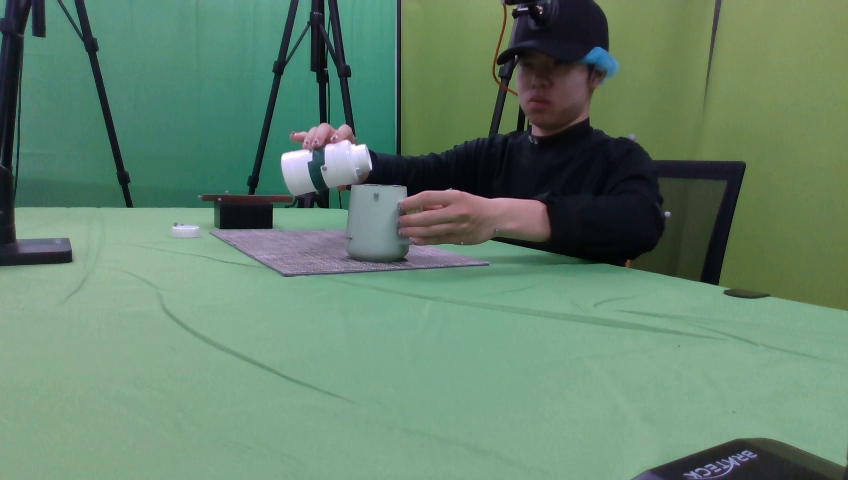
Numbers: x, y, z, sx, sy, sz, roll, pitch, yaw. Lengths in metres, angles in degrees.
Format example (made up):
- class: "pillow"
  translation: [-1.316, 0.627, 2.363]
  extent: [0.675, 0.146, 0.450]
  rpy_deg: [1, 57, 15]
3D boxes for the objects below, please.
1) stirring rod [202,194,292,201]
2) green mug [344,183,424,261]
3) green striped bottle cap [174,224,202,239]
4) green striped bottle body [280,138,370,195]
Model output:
- class: "stirring rod"
  translation: [-0.353, -0.086, 1.216]
  extent: [0.177, 0.014, 0.006]
  rpy_deg: [-1, 12, -27]
- class: "green mug"
  translation: [-0.053, -0.026, 0.849]
  extent: [0.125, 0.105, 0.093]
  rpy_deg: [7, 8, 33]
- class: "green striped bottle cap"
  translation: [-0.405, -0.015, 1.036]
  extent: [0.044, 0.020, 0.044]
  rpy_deg: [-1, 9, 1]
- class: "green striped bottle body"
  translation: [-0.139, -0.107, 0.864]
  extent: [0.119, 0.063, 0.063]
  rpy_deg: [-13, 7, 2]
